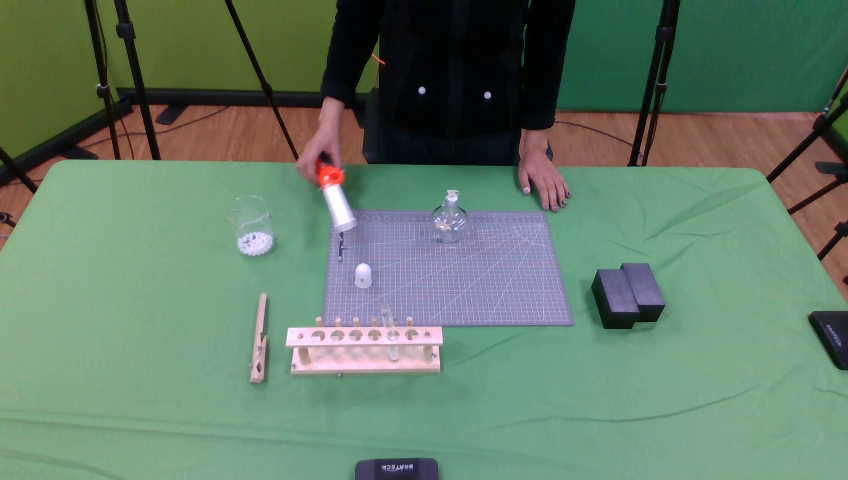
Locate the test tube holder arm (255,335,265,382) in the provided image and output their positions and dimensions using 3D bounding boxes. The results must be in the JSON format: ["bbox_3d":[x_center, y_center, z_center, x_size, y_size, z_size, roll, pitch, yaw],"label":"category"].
[{"bbox_3d":[-0.269,0.193,0.997,0.010,0.015,0.087,23,36,-32],"label":"test tube holder arm"}]

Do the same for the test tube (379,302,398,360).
[{"bbox_3d":[-0.054,0.145,0.943,0.017,0.151,0.017,-2,49,3],"label":"test tube"}]

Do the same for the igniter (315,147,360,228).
[{"bbox_3d":[-0.176,-0.113,1.208,0.057,0.025,0.274,-20,42,-8],"label":"igniter"}]

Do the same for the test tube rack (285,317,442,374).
[{"bbox_3d":[-0.095,0.166,0.988,0.242,0.085,0.066,0,46,-4],"label":"test tube rack"}]

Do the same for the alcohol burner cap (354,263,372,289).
[{"bbox_3d":[-0.113,0.063,1.111,0.034,0.048,0.033,2,45,-2],"label":"alcohol burner cap"}]

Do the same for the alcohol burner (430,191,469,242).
[{"bbox_3d":[0.052,-0.053,1.185,0.078,0.119,0.077,2,48,-2],"label":"alcohol burner"}]

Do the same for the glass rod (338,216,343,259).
[{"bbox_3d":[-0.166,-0.036,1.227,0.008,0.008,0.198,-1,46,-4],"label":"glass rod"}]

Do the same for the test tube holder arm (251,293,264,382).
[{"bbox_3d":[-0.281,0.160,1.025,0.013,0.015,0.177,23,36,-32],"label":"test tube holder arm"}]

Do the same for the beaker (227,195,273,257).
[{"bbox_3d":[-0.326,-0.022,1.142,0.074,0.101,0.083,10,47,6],"label":"beaker"}]
